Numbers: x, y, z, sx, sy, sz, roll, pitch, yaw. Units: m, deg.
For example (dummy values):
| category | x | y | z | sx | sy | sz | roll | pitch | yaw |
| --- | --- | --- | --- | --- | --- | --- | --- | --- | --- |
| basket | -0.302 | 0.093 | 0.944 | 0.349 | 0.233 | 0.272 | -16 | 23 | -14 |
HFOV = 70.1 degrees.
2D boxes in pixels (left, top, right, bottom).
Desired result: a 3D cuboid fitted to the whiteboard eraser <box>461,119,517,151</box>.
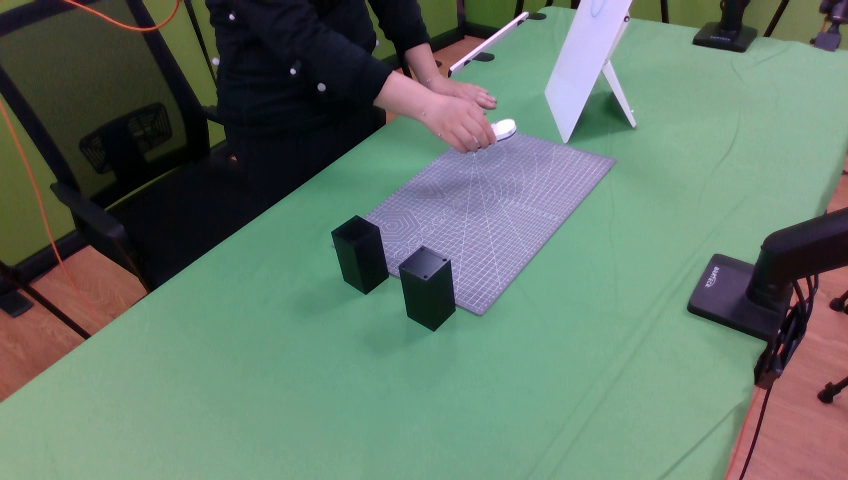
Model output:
| category | x | y | z | sx | sy | sz | roll | pitch | yaw |
| --- | --- | --- | --- | --- | --- | --- | --- | --- | --- |
| whiteboard eraser | 0.115 | -0.187 | 1.069 | 0.101 | 0.019 | 0.041 | -18 | 40 | 16 |

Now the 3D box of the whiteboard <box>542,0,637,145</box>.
| category | x | y | z | sx | sy | sz | roll | pitch | yaw |
| --- | --- | --- | --- | --- | --- | --- | --- | --- | --- |
| whiteboard | 0.366 | -0.351 | 1.160 | 0.144 | 0.305 | 0.216 | 10 | 39 | -10 |
